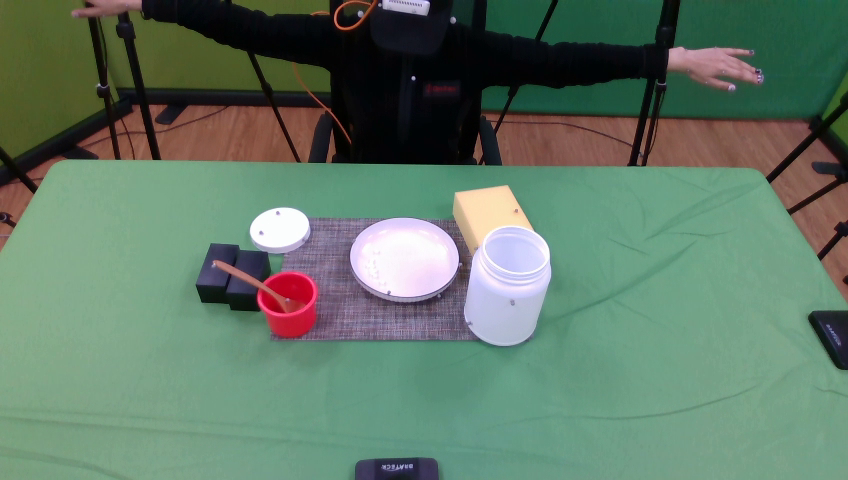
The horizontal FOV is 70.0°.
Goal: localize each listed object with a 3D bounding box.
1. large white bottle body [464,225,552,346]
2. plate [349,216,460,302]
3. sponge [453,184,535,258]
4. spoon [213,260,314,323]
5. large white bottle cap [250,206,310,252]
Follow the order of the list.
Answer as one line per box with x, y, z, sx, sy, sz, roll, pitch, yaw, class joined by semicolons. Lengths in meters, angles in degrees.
0.141;0.076;1.017;0.131;0.185;0.130;2;46;-2;large white bottle body
-0.037;0.038;1.142;0.209;0.038;0.208;2;46;-2;plate
0.144;-0.016;1.192;0.118;0.061;0.205;-10;48;-13;sponge
-0.264;0.083;1.009;0.195;0.021;0.041;40;40;-28;spoon
-0.284;-0.023;1.198;0.115;0.018;0.114;1;46;0;large white bottle cap
